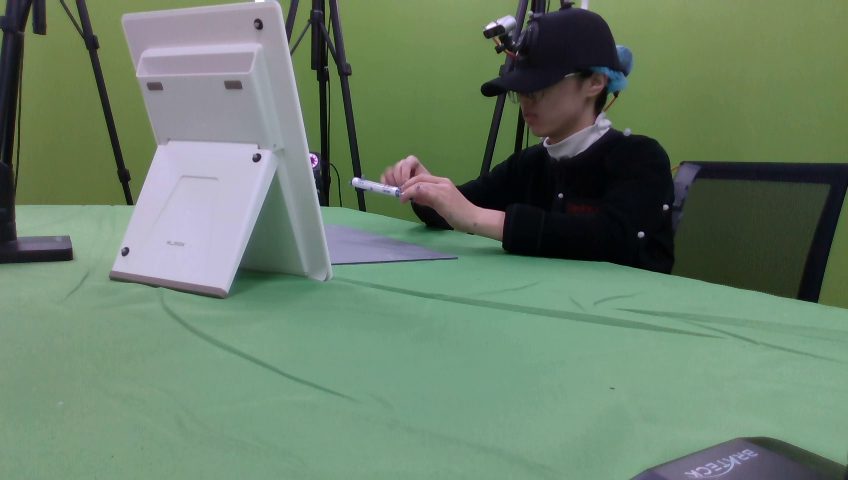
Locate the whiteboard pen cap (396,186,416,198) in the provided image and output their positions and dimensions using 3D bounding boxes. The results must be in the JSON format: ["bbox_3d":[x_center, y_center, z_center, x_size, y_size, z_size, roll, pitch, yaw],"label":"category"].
[{"bbox_3d":[-0.031,-0.080,1.001,0.033,0.018,0.018,15,14,40],"label":"whiteboard pen cap"}]

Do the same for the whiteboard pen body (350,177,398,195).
[{"bbox_3d":[-0.076,-0.091,1.039,0.140,0.017,0.017,15,14,39],"label":"whiteboard pen body"}]

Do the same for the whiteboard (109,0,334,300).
[{"bbox_3d":[-0.247,-0.072,0.625,0.216,0.305,0.144,6,28,26],"label":"whiteboard"}]
